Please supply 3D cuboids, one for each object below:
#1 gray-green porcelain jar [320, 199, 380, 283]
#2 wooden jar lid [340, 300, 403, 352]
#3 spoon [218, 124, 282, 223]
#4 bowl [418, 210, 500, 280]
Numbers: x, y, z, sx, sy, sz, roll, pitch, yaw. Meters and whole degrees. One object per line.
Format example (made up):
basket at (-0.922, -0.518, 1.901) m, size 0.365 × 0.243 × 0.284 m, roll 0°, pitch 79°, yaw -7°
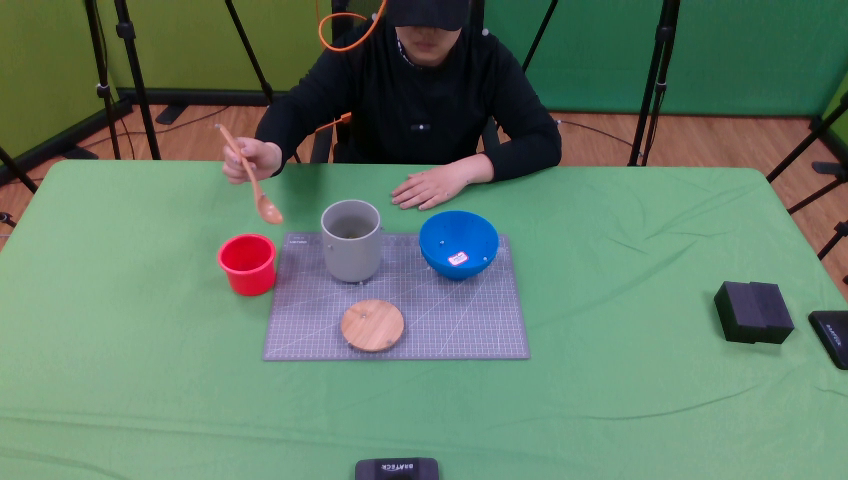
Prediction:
gray-green porcelain jar at (-0.132, 0.007, 1.106) m, size 0.106 × 0.127 × 0.105 m, roll 2°, pitch 46°, yaw -2°
wooden jar lid at (-0.090, 0.150, 1.046) m, size 0.108 × 0.021 × 0.107 m, roll 3°, pitch 47°, yaw -3°
spoon at (-0.294, -0.112, 1.020) m, size 0.041 × 0.021 × 0.193 m, roll -29°, pitch 94°, yaw -56°
bowl at (0.062, 0.022, 1.140) m, size 0.151 × 0.077 × 0.150 m, roll 2°, pitch 46°, yaw -2°
